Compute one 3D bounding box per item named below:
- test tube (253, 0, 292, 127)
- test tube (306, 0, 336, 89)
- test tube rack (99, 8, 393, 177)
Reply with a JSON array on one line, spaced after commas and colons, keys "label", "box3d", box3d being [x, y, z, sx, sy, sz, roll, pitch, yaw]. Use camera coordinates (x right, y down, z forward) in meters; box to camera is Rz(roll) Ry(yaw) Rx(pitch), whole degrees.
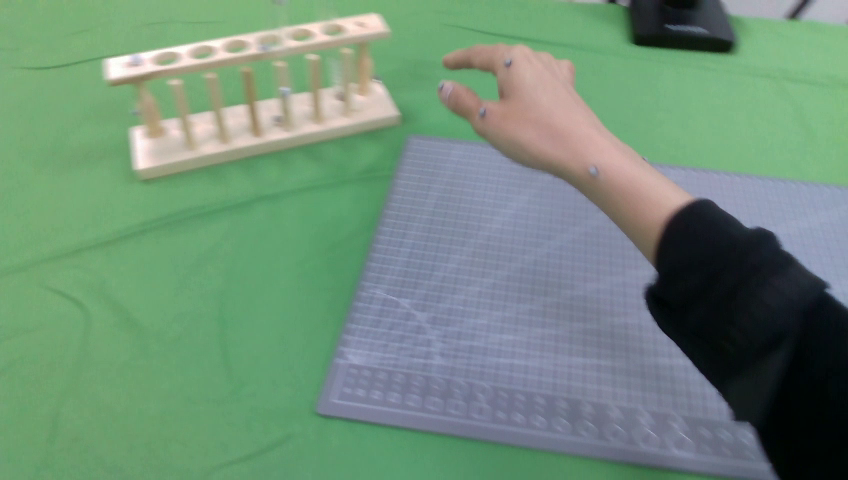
[{"label": "test tube", "box3d": [-0.131, -0.161, 0.520, 0.017, 0.152, 0.017, 1, 48, -1]}, {"label": "test tube", "box3d": [-0.096, -0.203, 0.551, 0.017, 0.151, 0.017, -3, 49, 3]}, {"label": "test tube rack", "box3d": [-0.154, -0.139, 0.559, 0.243, 0.086, 0.066, -17, 51, -16]}]
